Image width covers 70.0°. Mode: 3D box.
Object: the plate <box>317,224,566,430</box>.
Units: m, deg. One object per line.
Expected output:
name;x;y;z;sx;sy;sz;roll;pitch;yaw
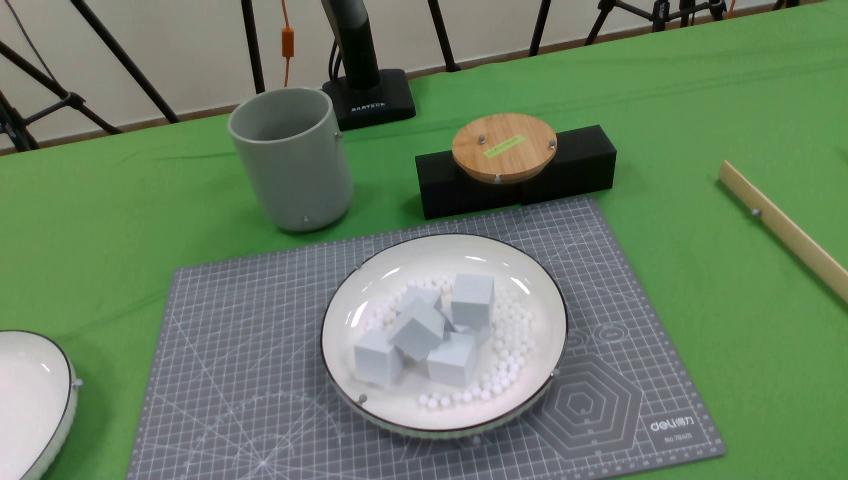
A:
plate;0.015;0.070;0.519;0.209;0.038;0.207;-5;45;5

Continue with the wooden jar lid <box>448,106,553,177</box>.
wooden jar lid;0.079;-0.102;0.628;0.108;0.021;0.107;-4;46;4

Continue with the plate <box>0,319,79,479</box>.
plate;-0.387;0.158;0.498;0.207;0.039;0.205;-4;45;5

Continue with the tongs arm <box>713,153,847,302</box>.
tongs arm;0.368;0.040;0.506;0.028;0.028;0.383;-16;45;-9

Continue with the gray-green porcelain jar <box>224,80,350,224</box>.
gray-green porcelain jar;-0.139;-0.088;0.644;0.106;0.128;0.105;-5;44;5
